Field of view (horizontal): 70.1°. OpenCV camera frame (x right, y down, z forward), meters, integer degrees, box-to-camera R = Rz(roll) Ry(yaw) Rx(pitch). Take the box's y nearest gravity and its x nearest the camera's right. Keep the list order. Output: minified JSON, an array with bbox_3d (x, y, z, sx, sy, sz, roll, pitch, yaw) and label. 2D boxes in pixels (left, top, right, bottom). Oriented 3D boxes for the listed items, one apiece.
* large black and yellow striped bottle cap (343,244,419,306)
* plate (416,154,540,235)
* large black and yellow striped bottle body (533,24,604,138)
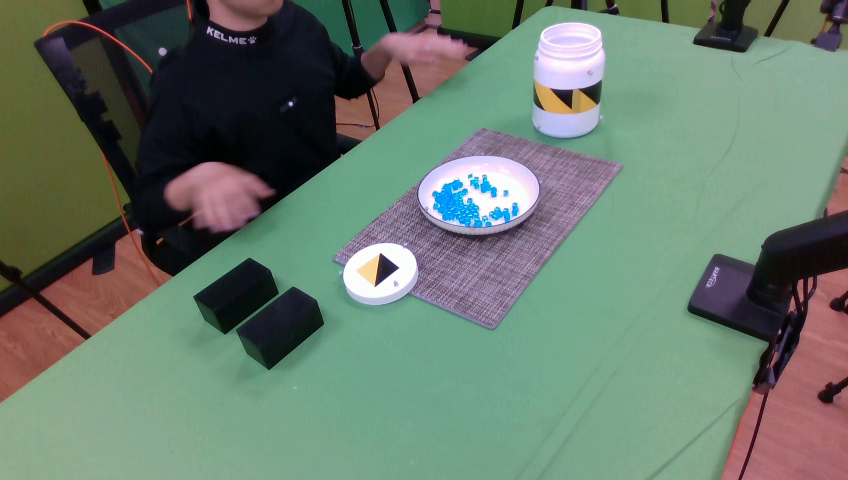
[{"bbox_3d":[-0.066,0.051,0.918,0.115,0.019,0.114,-6,43,6],"label":"large black and yellow striped bottle cap"},{"bbox_3d":[0.090,-0.074,1.025,0.207,0.039,0.206,-4,41,4],"label":"plate"},{"bbox_3d":[0.275,-0.304,1.160,0.131,0.185,0.130,-4,41,4],"label":"large black and yellow striped bottle body"}]
